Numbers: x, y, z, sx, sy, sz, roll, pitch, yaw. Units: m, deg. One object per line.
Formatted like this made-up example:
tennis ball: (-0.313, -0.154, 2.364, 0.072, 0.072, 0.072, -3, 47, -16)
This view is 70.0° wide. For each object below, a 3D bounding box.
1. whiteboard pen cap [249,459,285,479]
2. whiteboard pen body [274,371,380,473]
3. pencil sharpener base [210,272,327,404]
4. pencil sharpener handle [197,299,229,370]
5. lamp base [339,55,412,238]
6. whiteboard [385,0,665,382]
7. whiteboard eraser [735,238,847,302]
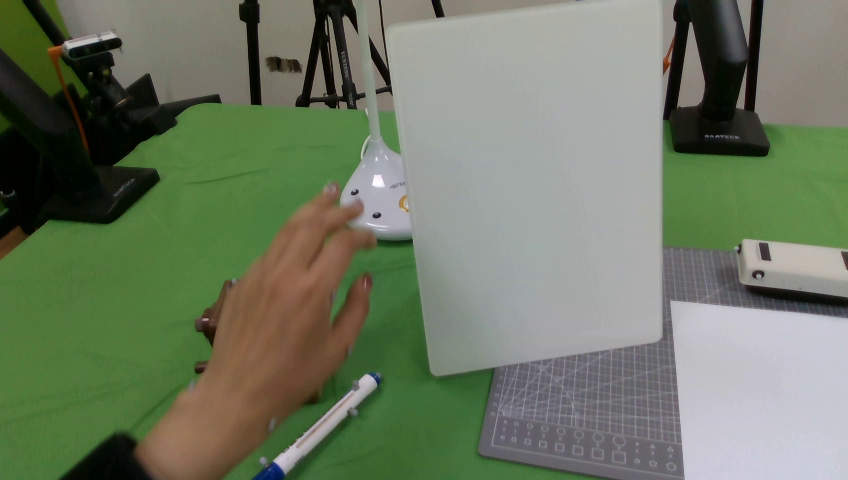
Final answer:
whiteboard pen cap: (-0.123, 0.184, 0.465, 0.018, 0.018, 0.033, 22, 41, 32)
whiteboard pen body: (-0.086, 0.157, 0.503, 0.017, 0.017, 0.140, 22, 43, 32)
pencil sharpener base: (-0.133, 0.087, 0.527, 0.077, 0.108, 0.061, -5, 38, 2)
pencil sharpener handle: (-0.185, 0.083, 0.518, 0.030, 0.068, 0.035, -5, 26, 2)
lamp base: (-0.041, -0.120, 0.729, 0.161, 0.182, 0.177, -25, 39, -24)
whiteboard: (0.090, -0.052, 0.568, 0.217, 0.307, 0.143, -8, 18, -2)
whiteboard eraser: (0.368, 0.030, 0.591, 0.112, 0.042, 0.055, 8, 40, 17)
